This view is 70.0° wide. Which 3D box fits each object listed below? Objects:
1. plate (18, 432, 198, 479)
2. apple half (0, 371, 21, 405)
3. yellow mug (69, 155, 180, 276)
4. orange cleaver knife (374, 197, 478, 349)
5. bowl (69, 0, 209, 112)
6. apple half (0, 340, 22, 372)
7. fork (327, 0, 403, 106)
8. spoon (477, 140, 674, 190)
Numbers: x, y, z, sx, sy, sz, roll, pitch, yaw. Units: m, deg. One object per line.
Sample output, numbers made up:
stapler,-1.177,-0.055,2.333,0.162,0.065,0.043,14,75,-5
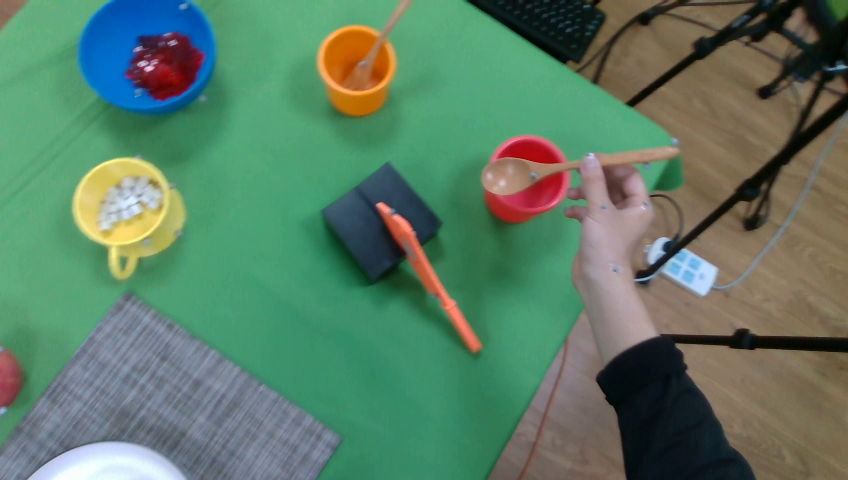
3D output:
plate,-0.327,0.304,0.625,0.209,0.038,0.208,2,78,-6
apple half,-0.470,0.154,0.628,0.081,0.074,0.053,15,80,-7
yellow mug,-0.338,-0.024,0.686,0.100,0.064,0.130,3,78,-6
orange cleaver knife,0.003,0.040,0.701,0.012,0.076,0.213,-36,116,-11
bowl,-0.327,-0.213,0.723,0.151,0.077,0.150,1,78,-6
apple half,-0.462,0.116,0.636,0.081,0.081,0.032,14,80,-3
fork,-0.057,-0.246,0.725,0.028,0.018,0.208,43,120,6
spoon,0.144,-0.079,0.602,0.193,0.022,0.041,-5,78,31
